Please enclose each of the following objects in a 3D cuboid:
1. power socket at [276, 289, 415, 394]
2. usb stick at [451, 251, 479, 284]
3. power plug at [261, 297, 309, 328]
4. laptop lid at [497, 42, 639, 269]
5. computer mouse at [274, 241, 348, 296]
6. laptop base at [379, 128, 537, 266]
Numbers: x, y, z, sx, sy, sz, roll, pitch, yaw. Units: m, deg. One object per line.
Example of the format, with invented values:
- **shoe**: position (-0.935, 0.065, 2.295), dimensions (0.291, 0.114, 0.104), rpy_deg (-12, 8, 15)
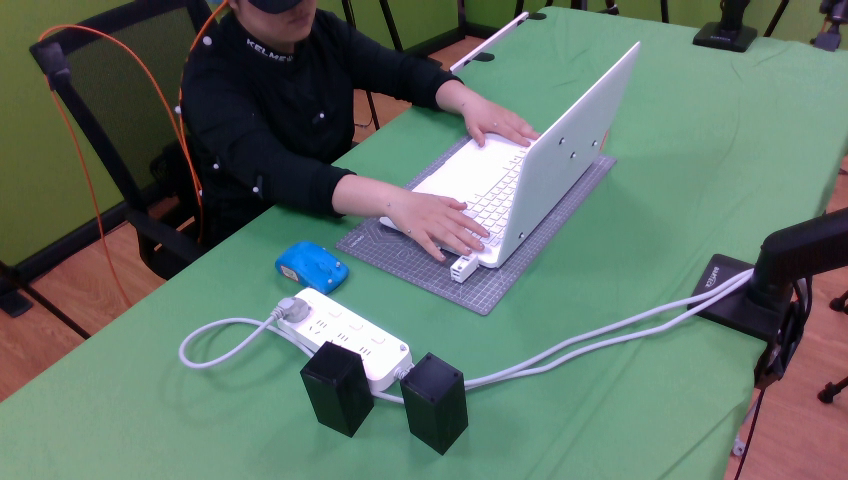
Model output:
- **power socket**: position (-0.114, 0.133, 0.821), dimensions (0.225, 0.033, 0.072), rpy_deg (25, 49, 33)
- **usb stick**: position (0.065, 0.037, 0.900), dimensions (0.021, 0.027, 0.059), rpy_deg (24, 46, 30)
- **power plug**: position (-0.192, 0.107, 0.831), dimensions (0.073, 0.053, 0.035), rpy_deg (-32, 43, -25)
- **laptop lid**: position (0.221, -0.130, 0.913), dimensions (0.013, 0.242, 0.357), rpy_deg (31, 51, 21)
- **computer mouse**: position (-0.175, 0.040, 0.936), dimensions (0.116, 0.041, 0.063), rpy_deg (27, 48, 27)
- **laptop base**: position (0.118, -0.090, 1.058), dimensions (0.233, 0.023, 0.355), rpy_deg (19, 46, 33)
